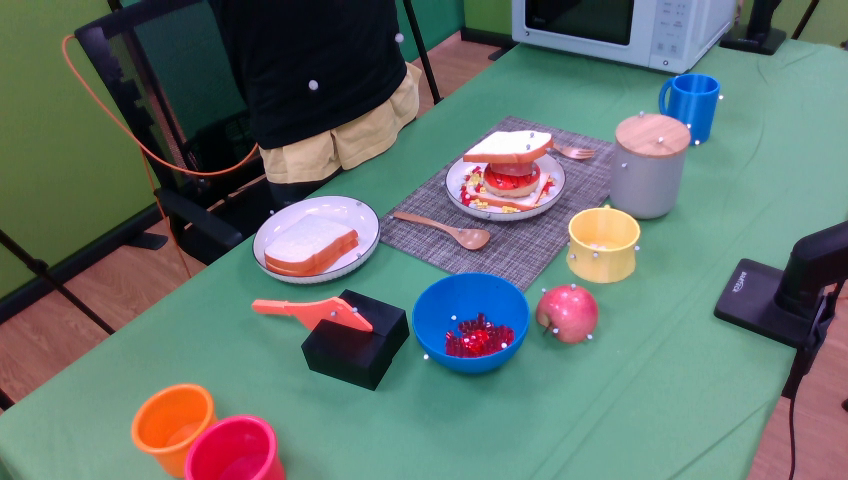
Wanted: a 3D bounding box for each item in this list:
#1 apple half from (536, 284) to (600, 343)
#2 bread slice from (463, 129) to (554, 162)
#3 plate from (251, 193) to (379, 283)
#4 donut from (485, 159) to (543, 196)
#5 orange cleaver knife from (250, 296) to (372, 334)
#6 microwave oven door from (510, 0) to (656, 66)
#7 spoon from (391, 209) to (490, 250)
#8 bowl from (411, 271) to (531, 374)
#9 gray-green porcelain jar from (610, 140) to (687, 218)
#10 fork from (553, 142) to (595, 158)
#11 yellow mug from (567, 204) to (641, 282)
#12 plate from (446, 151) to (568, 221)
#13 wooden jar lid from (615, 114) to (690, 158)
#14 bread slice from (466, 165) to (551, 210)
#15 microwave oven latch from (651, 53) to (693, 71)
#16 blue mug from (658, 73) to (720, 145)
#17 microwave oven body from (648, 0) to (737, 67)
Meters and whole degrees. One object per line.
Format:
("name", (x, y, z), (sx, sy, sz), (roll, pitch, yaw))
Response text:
("apple half", (0.196, 0.090, 0.815), (0.075, 0.053, 0.080), (-22, 42, -20))
("bread slice", (0.143, -0.154, 0.974), (0.130, 0.019, 0.105), (9, 35, 38))
("plate", (-0.174, -0.001, 0.985), (0.209, 0.038, 0.208), (-4, 41, 4))
("donut", (0.151, -0.112, 1.018), (0.099, 0.048, 0.098), (-4, 40, 4))
("orange cleaver knife", (-0.159, 0.103, 0.828), (0.210, 0.078, 0.012), (-3, 43, 39))
("microwave oven door", (0.350, -0.539, 1.349), (0.353, 0.245, 0.039), (24, 50, 31))
("spoon", (0.023, -0.024, 0.989), (0.192, 0.022, 0.041), (21, 72, 28))
("bowl", (0.062, 0.119, 0.780), (0.151, 0.077, 0.150), (-4, 40, 4))
("gray-green porcelain jar", (0.354, -0.107, 0.964), (0.106, 0.127, 0.105), (-4, 41, 4))
("fork", (0.225, -0.186, 1.151), (0.206, 0.019, 0.028), (21, 59, 27))
("yellow mug", (0.268, -0.005, 0.904), (0.099, 0.064, 0.130), (7, 42, 15))
("plate", (0.143, -0.097, 1.045), (0.207, 0.039, 0.206), (-4, 41, 4))
("wooden jar lid", (0.347, -0.155, 0.923), (0.108, 0.021, 0.108), (-3, 44, 4))
("bread slice", (0.141, -0.093, 1.041), (0.133, 0.018, 0.107), (8, 42, 20))
("microwave oven latch", (0.532, -0.386, 1.301), (0.078, 0.029, 0.030), (27, 52, 34))
("blue mug", (0.483, -0.250, 1.127), (0.082, 0.106, 0.115), (-26, 44, -19))
("microwave oven body", (0.475, -0.602, 1.411), (0.438, 0.261, 0.327), (23, 50, 32))
